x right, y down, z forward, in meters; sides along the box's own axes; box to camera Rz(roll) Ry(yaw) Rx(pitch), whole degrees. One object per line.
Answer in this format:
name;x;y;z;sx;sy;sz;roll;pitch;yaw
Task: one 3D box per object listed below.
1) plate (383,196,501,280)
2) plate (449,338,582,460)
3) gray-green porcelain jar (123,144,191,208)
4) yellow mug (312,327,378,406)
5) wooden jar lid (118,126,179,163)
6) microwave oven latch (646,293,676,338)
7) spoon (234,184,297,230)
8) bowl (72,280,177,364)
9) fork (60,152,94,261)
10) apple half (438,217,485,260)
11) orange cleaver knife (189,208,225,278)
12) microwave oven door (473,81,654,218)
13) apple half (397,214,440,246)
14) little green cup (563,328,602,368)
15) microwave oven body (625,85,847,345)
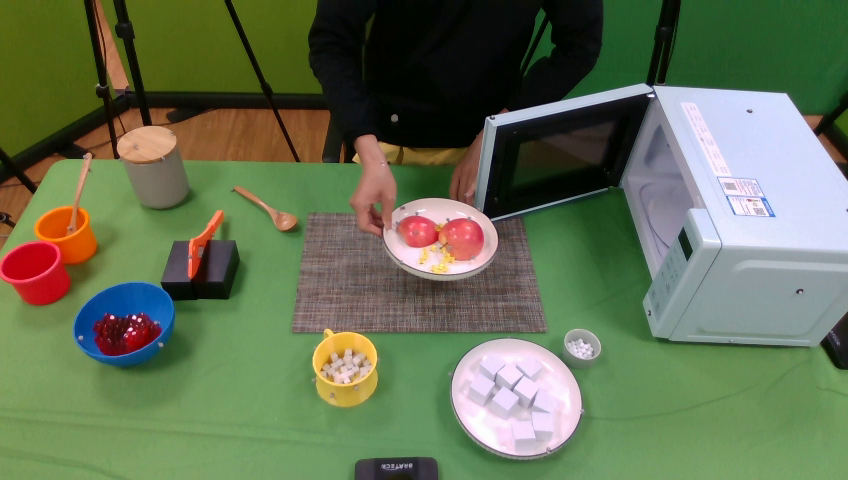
plate;0.031;-0.001;1.075;0.209;0.038;0.208;3;42;-3
plate;0.141;0.251;0.956;0.208;0.039;0.206;2;46;-2
gray-green porcelain jar;-0.531;-0.137;1.213;0.106;0.127;0.105;2;47;-2
yellow mug;-0.132;0.193;0.971;0.100;0.064;0.130;-22;51;-22
wooden jar lid;-0.528;-0.181;1.167;0.108;0.021;0.107;4;47;-4
microwave oven latch;0.412;0.133;1.060;0.030;0.029;0.078;3;46;0
spoon;-0.327;-0.073;1.239;0.193;0.022;0.041;34;71;25
bowl;-0.472;0.147;0.982;0.151;0.077;0.150;2;46;-2
fork;-0.638;-0.063;1.119;0.028;0.018;0.207;12;90;8
apple half;0.070;-0.012;1.068;0.075;0.053;0.080;-12;44;-22
orange cleaver knife;-0.400;0.002;1.122;0.012;0.077;0.210;4;23;-4
microwave oven door;0.273;-0.175;1.203;0.356;0.245;0.039;-16;50;-18
apple half;-0.007;-0.027;1.090;0.081;0.033;0.081;5;45;-5
little green cup;0.265;0.184;1.025;0.061;0.039;0.061;1;46;-1
microwave oven body;0.568;-0.054;1.116;0.326;0.261;0.439;2;46;-1
